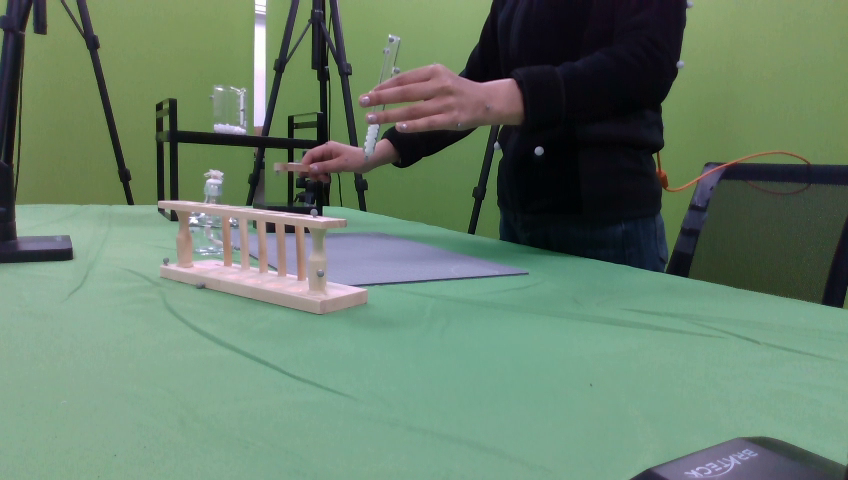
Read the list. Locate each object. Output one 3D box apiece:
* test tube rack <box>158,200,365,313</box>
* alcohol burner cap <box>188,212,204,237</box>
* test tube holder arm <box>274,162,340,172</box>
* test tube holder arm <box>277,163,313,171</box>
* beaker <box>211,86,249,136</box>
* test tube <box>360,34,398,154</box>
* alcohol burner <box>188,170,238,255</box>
[{"bbox_3d":[-0.173,0.008,0.624,0.241,0.085,0.067,7,9,34],"label":"test tube rack"},{"bbox_3d":[-0.389,-0.029,1.025,0.034,0.048,0.034,2,8,0],"label":"alcohol burner cap"},{"bbox_3d":[-0.214,-0.135,1.128,0.013,0.015,0.179,12,10,26],"label":"test tube holder arm"},{"bbox_3d":[-0.230,-0.131,1.085,0.010,0.015,0.088,13,10,27],"label":"test tube holder arm"},{"bbox_3d":[-0.413,-0.274,1.297,0.074,0.100,0.083,-5,11,-44],"label":"beaker"},{"bbox_3d":[-0.056,-0.179,0.750,0.017,0.150,0.017,14,19,-5],"label":"test tube"},{"bbox_3d":[-0.298,-0.039,0.852,0.078,0.119,0.078,3,6,0],"label":"alcohol burner"}]
